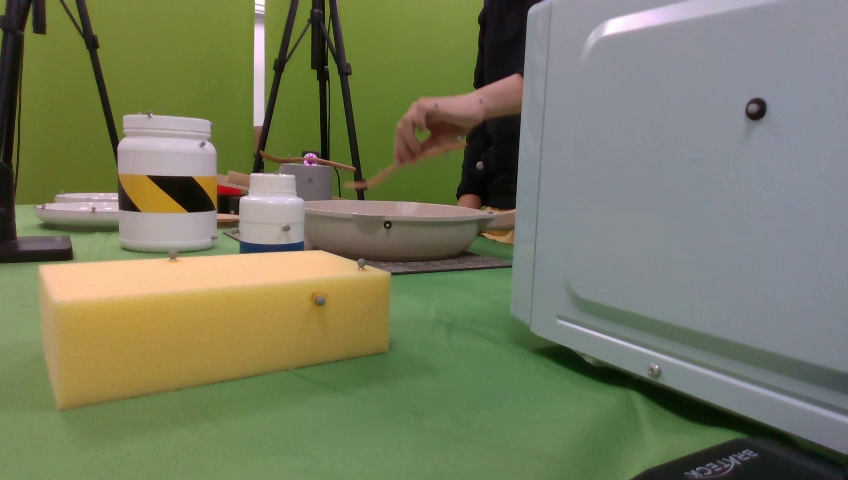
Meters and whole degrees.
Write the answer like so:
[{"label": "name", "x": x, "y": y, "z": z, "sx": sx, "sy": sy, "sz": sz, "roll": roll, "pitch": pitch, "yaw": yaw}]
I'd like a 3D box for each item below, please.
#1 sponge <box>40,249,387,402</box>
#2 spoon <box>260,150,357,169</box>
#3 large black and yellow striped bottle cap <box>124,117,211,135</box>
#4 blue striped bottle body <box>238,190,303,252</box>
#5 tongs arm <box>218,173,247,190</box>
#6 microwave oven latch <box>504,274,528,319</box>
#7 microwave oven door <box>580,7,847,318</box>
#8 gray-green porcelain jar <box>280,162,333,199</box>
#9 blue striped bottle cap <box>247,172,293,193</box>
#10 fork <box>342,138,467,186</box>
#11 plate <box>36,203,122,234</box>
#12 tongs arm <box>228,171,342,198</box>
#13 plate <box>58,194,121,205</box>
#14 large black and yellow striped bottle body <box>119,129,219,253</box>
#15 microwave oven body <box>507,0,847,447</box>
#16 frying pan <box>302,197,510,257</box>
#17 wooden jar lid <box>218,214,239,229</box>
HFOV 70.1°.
[{"label": "sponge", "x": -0.142, "y": 0.047, "z": 0.419, "sx": 0.208, "sy": 0.061, "sz": 0.117, "roll": -3, "pitch": 8, "yaw": -36}, {"label": "spoon", "x": -0.231, "y": -0.162, "z": 1.221, "sx": 0.194, "sy": 0.021, "sz": 0.041, "roll": 3, "pitch": 3, "yaw": -16}, {"label": "large black and yellow striped bottle cap", "x": -0.366, "y": -0.163, "z": 0.866, "sx": 0.115, "sy": 0.019, "sz": 0.115, "roll": 3, "pitch": 7, "yaw": 0}, {"label": "blue striped bottle body", "x": -0.153, "y": -0.007, "z": 0.606, "sx": 0.063, "sy": 0.120, "sz": 0.063, "roll": 2, "pitch": 7, "yaw": 0}, {"label": "tongs arm", "x": -0.315, "y": -0.110, "z": 1.448, "sx": 0.389, "sy": 0.027, "sz": 0.028, "roll": 11, "pitch": -7, "yaw": -26}, {"label": "microwave oven latch", "x": 0.100, "y": 0.041, "z": 0.471, "sx": 0.079, "sy": 0.029, "sz": 0.030, "roll": -1, "pitch": 7, "yaw": -28}, {"label": "microwave oven door", "x": 0.295, "y": -0.067, "z": 0.570, "sx": 0.358, "sy": 0.243, "sz": 0.039, "roll": -3, "pitch": 9, "yaw": -31}, {"label": "gray-green porcelain jar", "x": -0.238, "y": -0.092, "z": 1.221, "sx": 0.106, "sy": 0.126, "sz": 0.106, "roll": 2, "pitch": 7, "yaw": 0}, {"label": "blue striped bottle cap", "x": -0.152, "y": -0.057, "z": 0.598, "sx": 0.044, "sy": 0.020, "sz": 0.044, "roll": 3, "pitch": 7, "yaw": 0}, {"label": "fork", "x": -0.030, "y": -0.107, "z": 0.847, "sx": 0.206, "sy": 0.018, "sz": 0.028, "roll": -20, "pitch": -2, "yaw": 29}, {"label": "plate", "x": -0.571, "y": -0.040, "z": 1.083, "sx": 0.208, "sy": 0.039, "sz": 0.207, "roll": 2, "pitch": 8, "yaw": 0}, {"label": "tongs arm", "x": -0.267, "y": -0.103, "z": 1.378, "sx": 0.387, "sy": 0.026, "sz": 0.050, "roll": 11, "pitch": -3, "yaw": -40}, {"label": "plate", "x": -0.671, "y": -0.074, "z": 1.310, "sx": 0.209, "sy": 0.038, "sz": 0.209, "roll": 2, "pitch": 8, "yaw": 0}, {"label": "large black and yellow striped bottle body", "x": -0.367, "y": -0.080, "z": 0.876, "sx": 0.131, "sy": 0.184, "sz": 0.130, "roll": 2, "pitch": 7, "yaw": 0}, {"label": "microwave oven body", "x": 0.331, "y": -0.042, "z": 0.425, "sx": 0.444, "sy": 0.260, "sz": 0.324, "roll": -2, "pitch": 8, "yaw": -31}, {"label": "frying pan", "x": 0.050, "y": -0.035, "z": 0.915, "sx": 0.487, "sy": 0.102, "sz": 0.307, "roll": -5, "pitch": 7, "yaw": 10}, {"label": "wooden jar lid", "x": -0.404, "y": -0.037, "z": 1.169, "sx": 0.108, "sy": 0.020, "sz": 0.108, "roll": 3, "pitch": 7, "yaw": 0}]
